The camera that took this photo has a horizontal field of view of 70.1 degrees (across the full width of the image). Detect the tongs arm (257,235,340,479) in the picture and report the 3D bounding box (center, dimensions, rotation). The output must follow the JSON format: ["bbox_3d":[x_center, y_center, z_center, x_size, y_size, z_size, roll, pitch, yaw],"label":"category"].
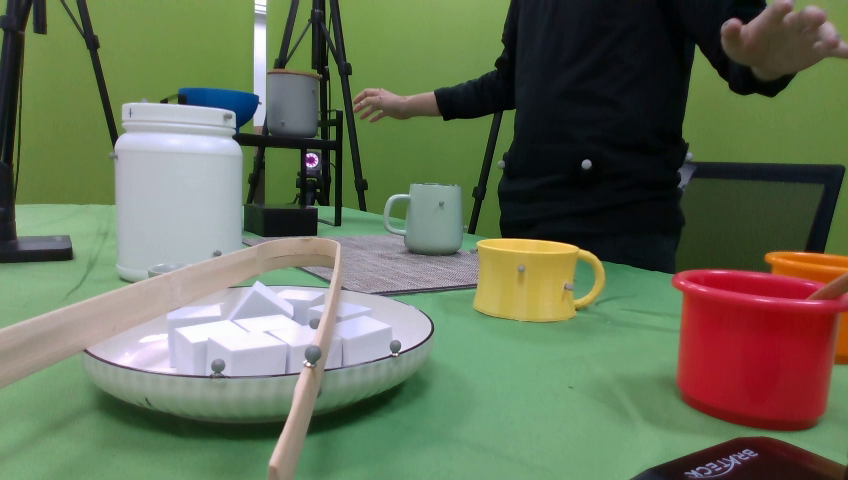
[{"bbox_3d":[-0.074,0.039,0.349,0.051,0.026,0.384,-2,9,-2],"label":"tongs arm"}]

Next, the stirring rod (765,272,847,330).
[{"bbox_3d":[0.352,0.020,0.481,0.176,0.006,0.014,-40,-8,17],"label":"stirring rod"}]

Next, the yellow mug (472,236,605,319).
[{"bbox_3d":[0.114,0.034,0.590,0.131,0.064,0.100,2,7,-7],"label":"yellow mug"}]

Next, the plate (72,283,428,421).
[{"bbox_3d":[-0.102,0.066,0.381,0.208,0.039,0.207,2,7,0],"label":"plate"}]

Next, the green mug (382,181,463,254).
[{"bbox_3d":[-0.001,-0.036,0.922,0.126,0.105,0.092,0,8,-16],"label":"green mug"}]

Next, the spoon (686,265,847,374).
[{"bbox_3d":[0.214,0.032,0.327,0.042,0.021,0.193,-2,-35,-26],"label":"spoon"}]

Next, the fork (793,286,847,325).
[{"bbox_3d":[0.332,0.019,0.443,0.028,0.018,0.207,-3,-35,-16],"label":"fork"}]

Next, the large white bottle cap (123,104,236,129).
[{"bbox_3d":[-0.266,-0.134,0.663,0.115,0.018,0.115,3,7,0],"label":"large white bottle cap"}]

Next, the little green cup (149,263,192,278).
[{"bbox_3d":[-0.207,0.043,0.531,0.061,0.038,0.061,3,6,0],"label":"little green cup"}]

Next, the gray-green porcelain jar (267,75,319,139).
[{"bbox_3d":[-0.277,-0.279,1.280,0.106,0.126,0.106,2,8,0],"label":"gray-green porcelain jar"}]

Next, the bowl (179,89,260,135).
[{"bbox_3d":[-0.400,-0.248,1.188,0.151,0.077,0.151,2,7,0],"label":"bowl"}]

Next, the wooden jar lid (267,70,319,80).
[{"bbox_3d":[-0.275,-0.339,1.271,0.108,0.020,0.108,5,6,0],"label":"wooden jar lid"}]

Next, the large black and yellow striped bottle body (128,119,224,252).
[{"bbox_3d":[-0.361,-0.081,0.887,0.131,0.184,0.130,2,8,0],"label":"large black and yellow striped bottle body"}]

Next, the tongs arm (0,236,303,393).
[{"bbox_3d":[-0.158,0.038,0.351,0.028,0.028,0.388,-3,8,12],"label":"tongs arm"}]

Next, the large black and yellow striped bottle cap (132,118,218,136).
[{"bbox_3d":[-0.359,-0.164,0.875,0.115,0.019,0.115,2,6,0],"label":"large black and yellow striped bottle cap"}]

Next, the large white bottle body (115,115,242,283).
[{"bbox_3d":[-0.270,-0.051,0.673,0.131,0.184,0.130,2,8,0],"label":"large white bottle body"}]
